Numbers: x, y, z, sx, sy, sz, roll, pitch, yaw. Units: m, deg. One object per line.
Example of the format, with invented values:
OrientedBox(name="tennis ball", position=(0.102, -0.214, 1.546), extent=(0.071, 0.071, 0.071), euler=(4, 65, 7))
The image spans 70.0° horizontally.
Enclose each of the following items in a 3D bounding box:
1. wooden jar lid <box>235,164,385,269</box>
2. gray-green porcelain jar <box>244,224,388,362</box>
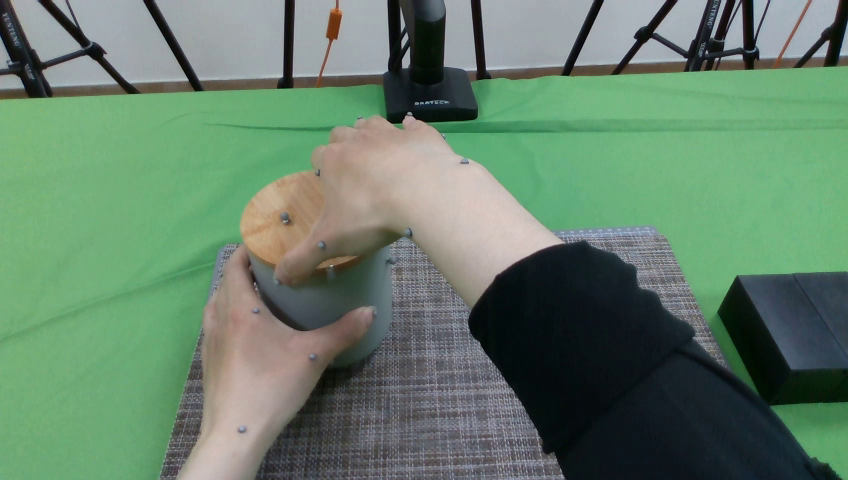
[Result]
OrientedBox(name="wooden jar lid", position=(-0.082, -0.016, 0.446), extent=(0.108, 0.021, 0.107), euler=(2, 46, -1))
OrientedBox(name="gray-green porcelain jar", position=(-0.083, 0.028, 0.490), extent=(0.106, 0.127, 0.105), euler=(1, 44, 0))
